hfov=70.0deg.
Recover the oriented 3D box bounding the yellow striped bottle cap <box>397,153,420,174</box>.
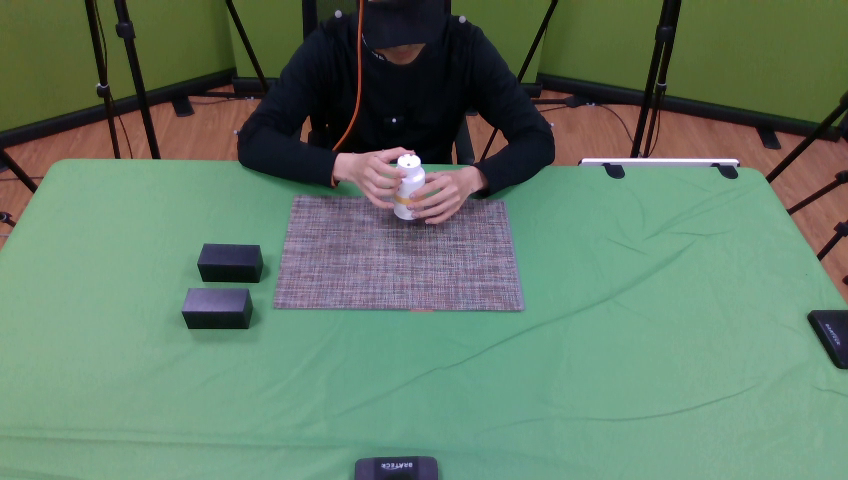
[{"bbox_3d":[-0.029,-0.145,1.141,0.044,0.019,0.044,-1,44,1],"label":"yellow striped bottle cap"}]

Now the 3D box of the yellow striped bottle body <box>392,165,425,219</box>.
[{"bbox_3d":[-0.030,-0.105,1.179,0.063,0.121,0.062,0,43,0],"label":"yellow striped bottle body"}]
